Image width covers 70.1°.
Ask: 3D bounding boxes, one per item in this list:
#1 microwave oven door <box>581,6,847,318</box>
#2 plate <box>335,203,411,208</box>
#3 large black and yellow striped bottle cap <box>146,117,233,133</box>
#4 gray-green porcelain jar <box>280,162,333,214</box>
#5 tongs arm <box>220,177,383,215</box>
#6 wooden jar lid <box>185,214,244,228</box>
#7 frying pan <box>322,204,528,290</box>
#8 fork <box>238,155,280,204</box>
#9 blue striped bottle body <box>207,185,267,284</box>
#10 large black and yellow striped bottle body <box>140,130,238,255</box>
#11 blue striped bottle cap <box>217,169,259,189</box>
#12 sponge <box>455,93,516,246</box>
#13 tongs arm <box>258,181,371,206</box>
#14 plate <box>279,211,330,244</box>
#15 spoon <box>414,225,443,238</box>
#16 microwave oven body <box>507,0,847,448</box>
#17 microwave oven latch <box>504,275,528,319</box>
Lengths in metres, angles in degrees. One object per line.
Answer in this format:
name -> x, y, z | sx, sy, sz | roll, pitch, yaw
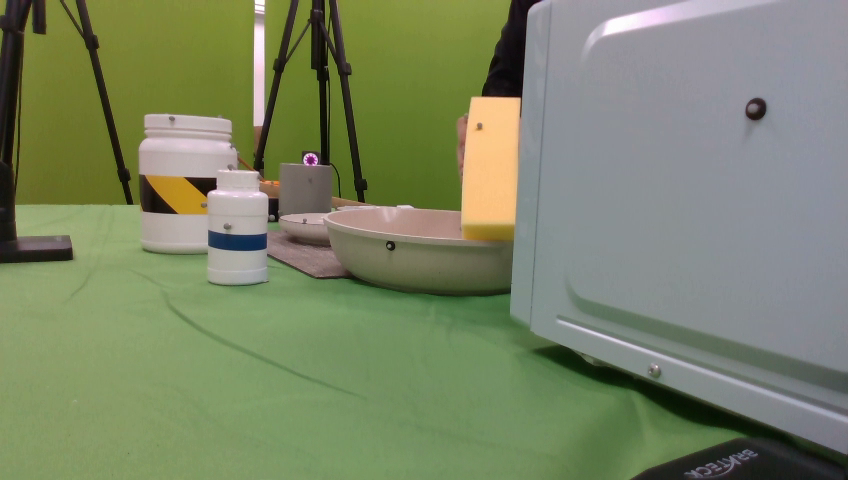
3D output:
microwave oven door -> 0.295, -0.067, 0.569 | 0.358, 0.243, 0.039 | -3, 8, -31
plate -> -0.089, -0.053, 1.309 | 0.208, 0.039, 0.207 | 2, 8, 0
large black and yellow striped bottle cap -> -0.333, -0.163, 0.860 | 0.115, 0.019, 0.115 | 1, 9, 0
gray-green porcelain jar -> -0.238, -0.092, 1.221 | 0.106, 0.126, 0.106 | 2, 7, 0
tongs arm -> -0.285, -0.103, 1.445 | 0.389, 0.027, 0.028 | 9, -4, -23
wooden jar lid -> -0.404, -0.037, 1.169 | 0.108, 0.020, 0.108 | 3, 7, 0
frying pan -> 0.109, -0.017, 0.800 | 0.490, 0.102, 0.305 | -12, 16, -30
fork -> -0.396, -0.143, 1.486 | 0.028, 0.018, 0.208 | 19, -26, 44
blue striped bottle body -> -0.204, -0.016, 0.663 | 0.063, 0.120, 0.063 | 2, 7, 0
large black and yellow striped bottle body -> -0.336, -0.078, 0.871 | 0.131, 0.184, 0.130 | 2, 8, 0
blue striped bottle cap -> -0.202, -0.067, 0.656 | 0.044, 0.020, 0.044 | 0, 10, 0
sponge -> 0.078, -0.062, 0.699 | 0.061, 0.118, 0.206 | 2, 49, 9
tongs arm -> -0.241, -0.095, 1.373 | 0.387, 0.026, 0.050 | 9, -1, -37
plate -> -0.139, -0.022, 1.021 | 0.209, 0.038, 0.209 | 2, 8, 0
spoon -> 0.017, -0.020, 1.112 | 0.041, 0.021, 0.194 | -13, 3, 12
microwave oven body -> 0.331, -0.042, 0.425 | 0.444, 0.260, 0.324 | -2, 8, -31
microwave oven latch -> 0.100, 0.042, 0.471 | 0.079, 0.029, 0.030 | -1, 7, -28
